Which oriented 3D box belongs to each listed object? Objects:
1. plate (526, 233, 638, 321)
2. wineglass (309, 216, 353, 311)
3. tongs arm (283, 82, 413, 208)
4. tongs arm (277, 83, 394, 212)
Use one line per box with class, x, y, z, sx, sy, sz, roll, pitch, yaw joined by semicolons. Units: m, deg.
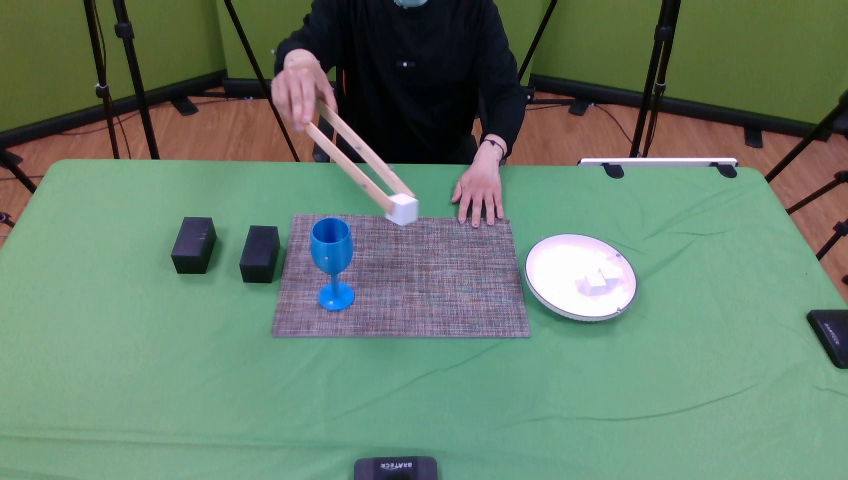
plate;0.292;0.071;1.135;0.209;0.038;0.208;2;46;-2
wineglass;-0.156;0.043;1.032;0.074;0.173;0.073;2;46;-2
tongs arm;-0.137;-0.166;1.001;0.051;0.026;0.382;-15;45;-30
tongs arm;-0.156;-0.160;0.988;0.028;0.028;0.385;-21;49;-30
